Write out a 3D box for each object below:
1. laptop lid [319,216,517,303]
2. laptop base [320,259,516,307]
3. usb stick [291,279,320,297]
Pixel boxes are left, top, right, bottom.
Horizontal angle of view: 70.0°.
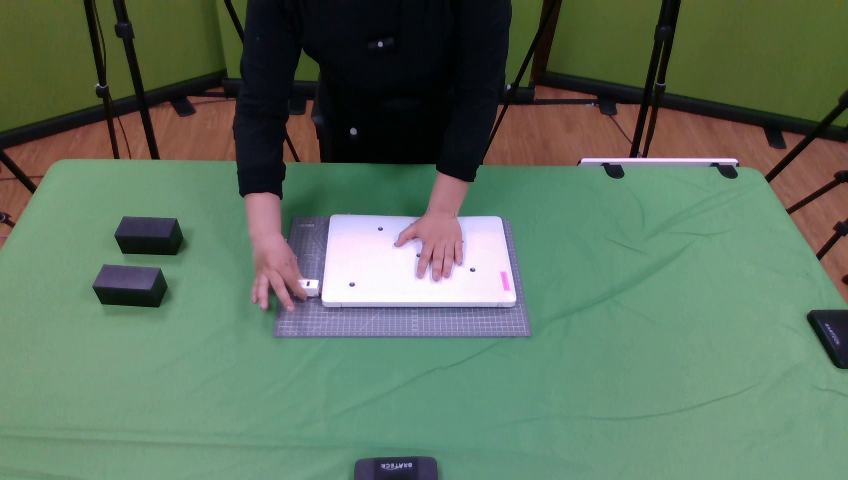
[{"bbox_3d":[-0.012,0.032,1.155,0.357,0.013,0.240,2,42,-3],"label":"laptop lid"},{"bbox_3d":[-0.013,0.040,1.160,0.355,0.023,0.234,0,41,-4],"label":"laptop base"},{"bbox_3d":[-0.205,0.087,1.085,0.059,0.027,0.021,4,49,2],"label":"usb stick"}]
